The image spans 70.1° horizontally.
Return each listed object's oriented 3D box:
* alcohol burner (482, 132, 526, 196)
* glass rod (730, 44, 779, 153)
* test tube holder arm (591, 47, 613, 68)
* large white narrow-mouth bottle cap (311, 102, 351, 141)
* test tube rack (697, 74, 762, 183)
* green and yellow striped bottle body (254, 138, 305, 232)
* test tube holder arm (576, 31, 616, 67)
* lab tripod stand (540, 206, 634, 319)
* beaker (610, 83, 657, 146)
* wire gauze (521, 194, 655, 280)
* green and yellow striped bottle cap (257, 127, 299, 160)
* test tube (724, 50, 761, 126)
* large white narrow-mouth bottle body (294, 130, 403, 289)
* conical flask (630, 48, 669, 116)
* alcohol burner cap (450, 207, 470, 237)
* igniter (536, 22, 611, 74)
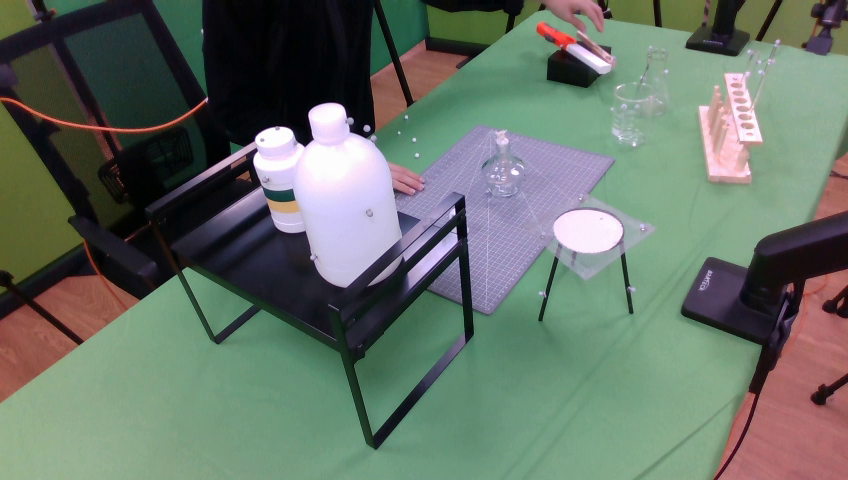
[{"bbox_3d":[0.137,-0.136,1.042,0.078,0.119,0.077,-4,43,4],"label":"alcohol burner"},{"bbox_3d":[0.555,-0.233,1.020,0.008,0.200,0.008,2,40,-1],"label":"glass rod"},{"bbox_3d":[0.387,-0.398,1.317,0.010,0.015,0.087,-11,41,-6],"label":"test tube holder arm"},{"bbox_3d":[-0.089,-0.114,0.579,0.038,0.024,0.037,-3,40,3],"label":"large white narrow-mouth bottle cap"},{"bbox_3d":[0.547,-0.208,1.095,0.066,0.085,0.242,5,42,15],"label":"test tube rack"},{"bbox_3d":[-0.165,-0.073,0.732,0.063,0.120,0.063,-4,41,4],"label":"green and yellow striped bottle body"},{"bbox_3d":[0.382,-0.428,1.351,0.013,0.015,0.177,-12,41,-7],"label":"test tube holder arm"},{"bbox_3d":[0.218,0.034,0.821,0.148,0.132,0.147,-4,43,4],"label":"lab tripod stand"},{"bbox_3d":[0.388,-0.235,1.138,0.074,0.101,0.083,-31,45,-25],"label":"beaker"},{"bbox_3d":[0.207,-0.012,0.772,0.122,0.011,0.124,-28,44,-20],"label":"wire gauze"},{"bbox_3d":[-0.169,-0.112,0.699,0.045,0.020,0.045,-6,40,6],"label":"green and yellow striped bottle cap"},{"bbox_3d":[0.570,-0.269,1.086,0.017,0.151,0.017,-1,46,1],"label":"test tube"},{"bbox_3d":[-0.082,-0.047,0.634,0.102,0.195,0.101,-4,40,4],"label":"large white narrow-mouth bottle body"},{"bbox_3d":[0.456,-0.317,1.205,0.075,0.122,0.075,-4,41,4],"label":"conical flask"},{"bbox_3d":[0.057,-0.032,0.987,0.034,0.048,0.033,-5,41,5],"label":"alcohol burner cap"},{"bbox_3d":[0.329,-0.438,1.366,0.057,0.025,0.274,-11,41,-19],"label":"igniter"}]
